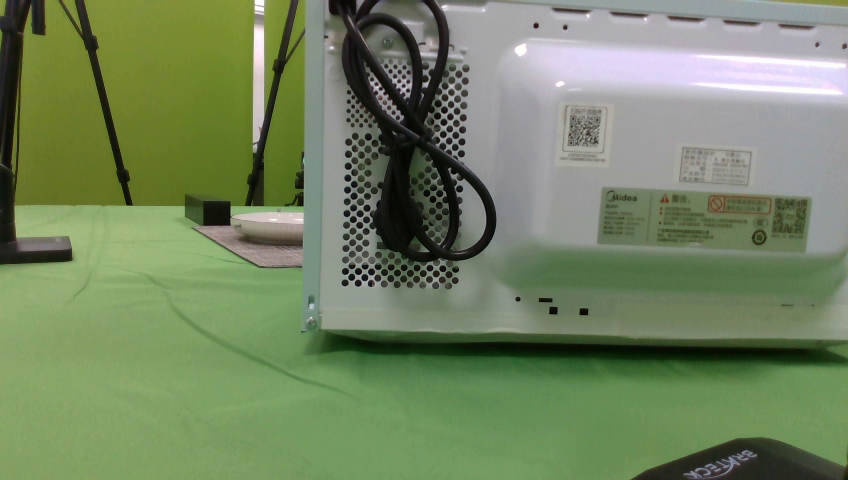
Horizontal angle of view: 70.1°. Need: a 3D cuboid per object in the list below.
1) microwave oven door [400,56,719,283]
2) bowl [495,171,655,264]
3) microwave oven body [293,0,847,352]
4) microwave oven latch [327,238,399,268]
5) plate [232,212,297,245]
[{"bbox_3d":[0.155,-0.077,0.698,0.356,0.243,0.039,2,8,-5],"label":"microwave oven door"},{"bbox_3d":[0.144,-0.023,0.592,0.151,0.077,0.151,1,11,0],"label":"bowl"},{"bbox_3d":[0.122,-0.055,0.550,0.442,0.260,0.325,3,7,-5],"label":"microwave oven body"},{"bbox_3d":[-0.069,0.015,0.694,0.079,0.029,0.030,3,7,-3],"label":"microwave oven latch"},{"bbox_3d":[-0.214,-0.019,1.018,0.208,0.039,0.207,3,7,0],"label":"plate"}]
